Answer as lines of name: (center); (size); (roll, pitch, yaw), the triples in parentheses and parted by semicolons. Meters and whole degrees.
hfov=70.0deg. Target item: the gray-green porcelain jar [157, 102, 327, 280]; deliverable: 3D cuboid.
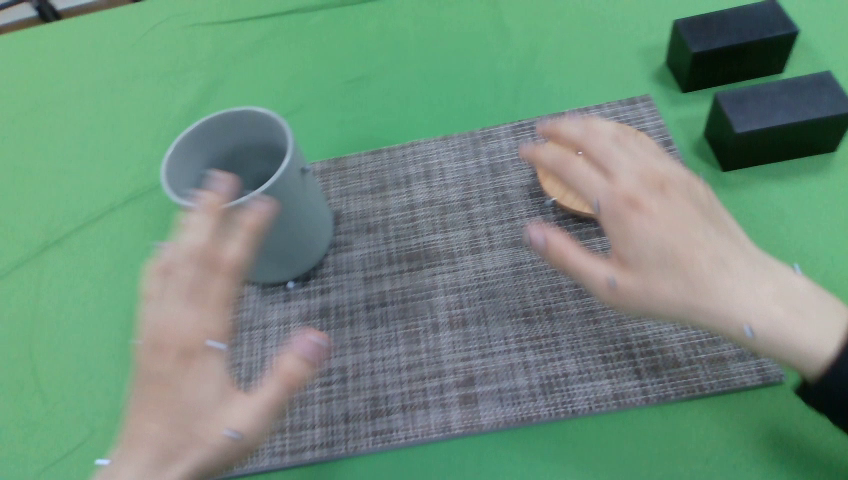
gray-green porcelain jar: (-0.144, -0.034, 0.513); (0.106, 0.128, 0.105); (-5, 56, 7)

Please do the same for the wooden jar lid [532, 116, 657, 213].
wooden jar lid: (0.152, -0.067, 0.546); (0.108, 0.021, 0.107); (-4, 58, 7)
